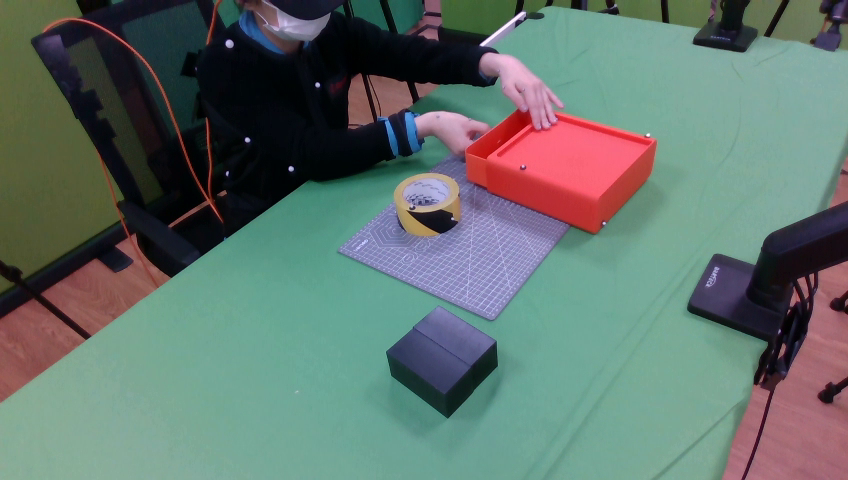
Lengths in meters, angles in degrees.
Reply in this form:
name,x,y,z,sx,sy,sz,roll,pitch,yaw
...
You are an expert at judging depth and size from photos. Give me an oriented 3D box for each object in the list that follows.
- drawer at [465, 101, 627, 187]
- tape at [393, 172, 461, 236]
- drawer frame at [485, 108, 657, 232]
name,x,y,z,sx,sy,sz,roll,pitch,yaw
drawer,0.211,-0.145,1.053,0.210,0.073,0.195,27,50,31
tape,0.005,-0.061,1.012,0.117,0.053,0.116,-4,40,4
drawer frame,0.248,-0.127,1.029,0.212,0.083,0.202,26,50,32
